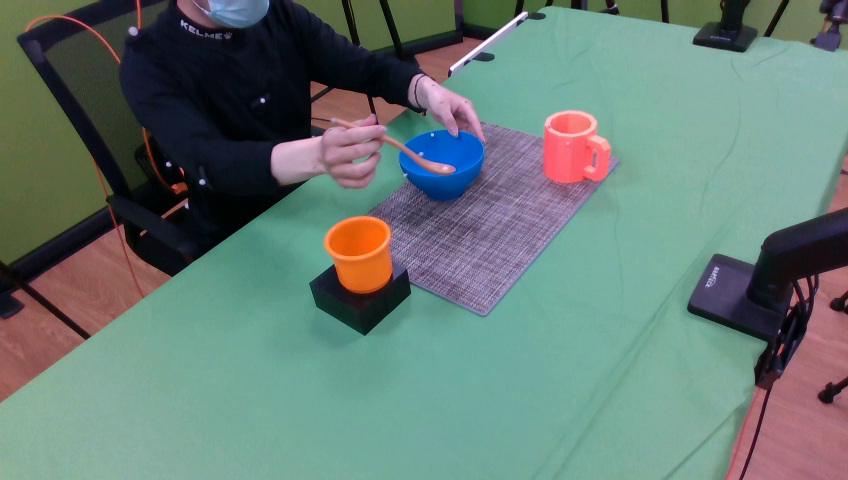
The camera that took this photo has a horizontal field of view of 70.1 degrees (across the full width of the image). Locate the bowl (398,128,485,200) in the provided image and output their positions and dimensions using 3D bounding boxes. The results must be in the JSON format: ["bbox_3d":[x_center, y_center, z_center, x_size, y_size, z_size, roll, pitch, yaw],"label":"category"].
[{"bbox_3d":[0.033,-0.124,1.059,0.151,0.077,0.150,-4,41,4],"label":"bowl"}]

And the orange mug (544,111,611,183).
[{"bbox_3d":[0.266,-0.157,1.049,0.084,0.101,0.125,-32,42,-26],"label":"orange mug"}]

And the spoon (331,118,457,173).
[{"bbox_3d":[-0.039,-0.132,0.843,0.195,0.021,0.041,23,14,-24],"label":"spoon"}]
